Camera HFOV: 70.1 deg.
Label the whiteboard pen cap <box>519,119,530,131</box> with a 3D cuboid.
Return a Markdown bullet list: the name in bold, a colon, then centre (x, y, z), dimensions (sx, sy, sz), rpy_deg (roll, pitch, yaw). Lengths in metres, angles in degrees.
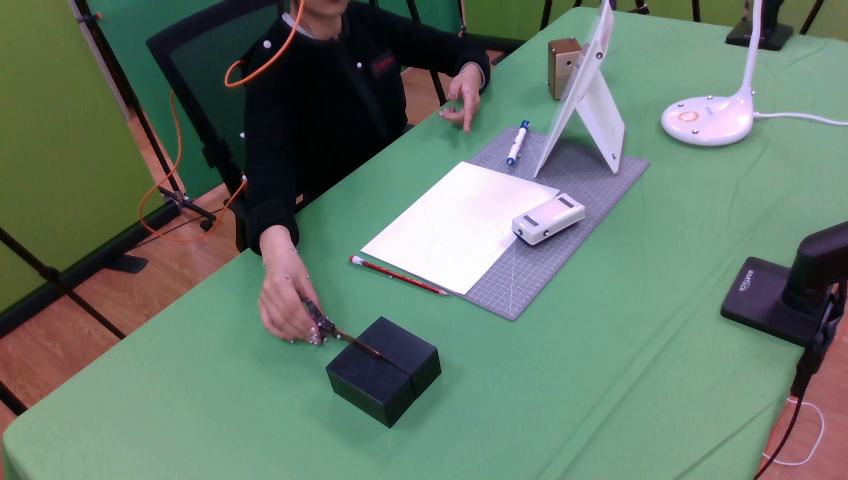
- **whiteboard pen cap**: centre (0.199, -0.226, 1.204), dimensions (0.018, 0.018, 0.033), rpy_deg (7, 41, 18)

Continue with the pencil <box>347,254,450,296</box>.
- **pencil**: centre (-0.042, 0.055, 0.935), dimensions (0.192, 0.012, 0.012), rpy_deg (19, 48, 27)

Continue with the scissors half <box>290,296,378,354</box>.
- **scissors half**: centre (-0.122, 0.114, 0.803), dimensions (0.173, 0.040, 0.013), rpy_deg (25, 46, 34)

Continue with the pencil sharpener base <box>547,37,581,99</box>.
- **pencil sharpener base**: centre (0.299, -0.368, 1.290), dimensions (0.061, 0.107, 0.076), rpy_deg (-8, 40, 2)

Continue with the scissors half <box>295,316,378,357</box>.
- **scissors half**: centre (-0.119, 0.132, 0.812), dimensions (0.174, 0.040, 0.013), rpy_deg (9, 30, 45)

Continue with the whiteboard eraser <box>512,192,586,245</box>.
- **whiteboard eraser**: centre (0.199, -0.032, 0.962), dimensions (0.113, 0.042, 0.055), rpy_deg (-27, 43, -20)

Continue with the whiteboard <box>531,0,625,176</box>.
- **whiteboard**: centre (0.320, -0.258, 1.050), dimensions (0.144, 0.306, 0.217), rpy_deg (22, 45, 5)

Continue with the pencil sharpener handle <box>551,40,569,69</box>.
- **pencil sharpener handle**: centre (0.291, -0.409, 1.321), dimensions (0.036, 0.068, 0.030), rpy_deg (2, 40, -6)

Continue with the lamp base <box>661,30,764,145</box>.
- **lamp base**: centre (0.535, -0.287, 1.096), dimensions (0.179, 0.181, 0.159), rpy_deg (-10, 40, -4)

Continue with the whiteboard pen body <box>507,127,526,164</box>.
- **whiteboard pen body**: centre (0.181, -0.189, 1.162), dimensions (0.017, 0.017, 0.140), rpy_deg (8, 42, 19)
